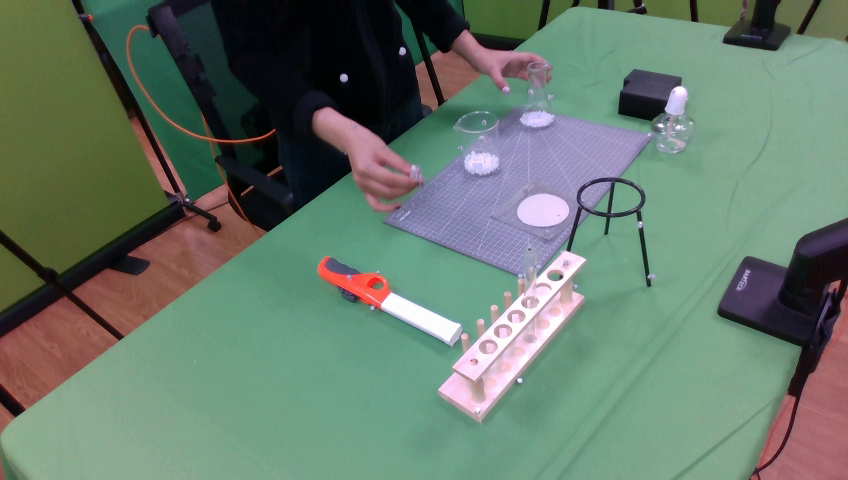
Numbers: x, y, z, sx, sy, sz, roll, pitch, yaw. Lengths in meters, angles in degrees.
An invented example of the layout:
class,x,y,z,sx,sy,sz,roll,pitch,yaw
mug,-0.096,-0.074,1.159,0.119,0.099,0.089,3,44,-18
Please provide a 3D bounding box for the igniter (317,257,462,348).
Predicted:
class,x,y,z,sx,sy,sz,roll,pitch,yaw
igniter,-0.061,0.086,0.891,0.274,0.025,0.057,24,59,33

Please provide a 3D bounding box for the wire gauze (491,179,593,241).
class,x,y,z,sx,sy,sz,roll,pitch,yaw
wire gauze,0.198,-0.051,1.014,0.125,0.011,0.120,-38,48,-27

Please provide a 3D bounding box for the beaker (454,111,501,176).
class,x,y,z,sx,sy,sz,roll,pitch,yaw
beaker,0.101,-0.174,1.106,0.084,0.101,0.073,-5,40,6

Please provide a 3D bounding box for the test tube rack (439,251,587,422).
class,x,y,z,sx,sy,sz,roll,pitch,yaw
test tube rack,0.118,0.111,0.780,0.066,0.085,0.243,26,51,34

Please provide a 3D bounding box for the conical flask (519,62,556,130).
class,x,y,z,sx,sy,sz,roll,pitch,yaw
conical flask,0.225,-0.287,1.198,0.075,0.122,0.075,-6,40,5

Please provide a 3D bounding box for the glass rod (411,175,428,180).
class,x,y,z,sx,sy,sz,roll,pitch,yaw
glass rod,-0.005,-0.093,0.898,0.008,0.008,0.200,-5,5,6

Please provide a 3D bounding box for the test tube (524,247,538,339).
class,x,y,z,sx,sy,sz,roll,pitch,yaw
test tube,0.133,0.070,0.749,0.017,0.151,0.017,-5,38,4

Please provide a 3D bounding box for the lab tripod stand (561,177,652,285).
class,x,y,z,sx,sy,sz,roll,pitch,yaw
lab tripod stand,0.263,-0.014,0.864,0.148,0.132,0.147,-7,38,6

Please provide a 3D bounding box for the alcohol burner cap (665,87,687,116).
class,x,y,z,sx,sy,sz,roll,pitch,yaw
alcohol burner cap,0.445,-0.244,1.060,0.034,0.048,0.033,-2,45,3

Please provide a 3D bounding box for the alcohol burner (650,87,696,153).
class,x,y,z,sx,sy,sz,roll,pitch,yaw
alcohol burner,0.448,-0.217,1.084,0.078,0.119,0.077,-6,38,5
